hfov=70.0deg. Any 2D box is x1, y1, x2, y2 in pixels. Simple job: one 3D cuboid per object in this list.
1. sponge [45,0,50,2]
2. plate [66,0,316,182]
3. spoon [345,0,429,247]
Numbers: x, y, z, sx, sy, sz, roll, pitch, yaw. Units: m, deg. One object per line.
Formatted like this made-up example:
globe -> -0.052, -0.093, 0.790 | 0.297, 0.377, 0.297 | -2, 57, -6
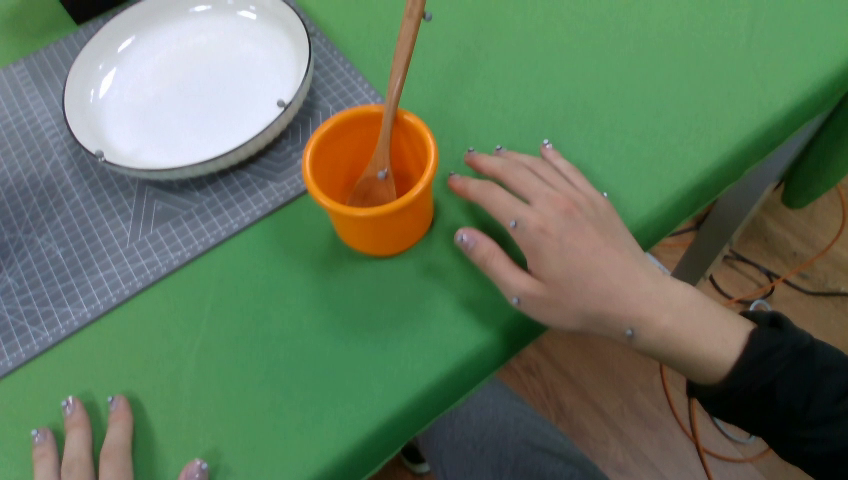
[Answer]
sponge -> -0.285, -0.318, 0.560 | 0.207, 0.061, 0.117 | -32, 64, -13
plate -> -0.193, -0.133, 0.518 | 0.209, 0.038, 0.207 | -2, 62, 4
spoon -> -0.021, -0.086, 0.420 | 0.041, 0.194, 0.021 | 20, 21, 15
